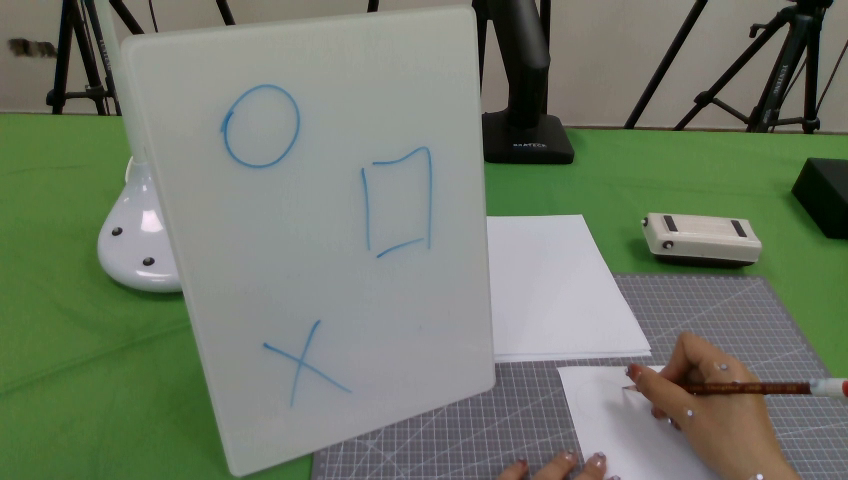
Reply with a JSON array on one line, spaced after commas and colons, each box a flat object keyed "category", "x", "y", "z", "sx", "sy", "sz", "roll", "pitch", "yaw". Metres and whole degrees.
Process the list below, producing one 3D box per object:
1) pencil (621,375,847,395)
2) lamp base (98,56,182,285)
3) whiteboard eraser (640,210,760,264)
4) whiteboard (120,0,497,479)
[{"category": "pencil", "x": 0.211, "y": 0.104, "z": 0.433, "sx": 0.012, "sy": 0.194, "sz": 0.012, "roll": 6, "pitch": 75, "yaw": -25}, {"category": "lamp base", "x": -0.255, "y": -0.074, "z": 0.584, "sx": 0.177, "sy": 0.182, "sz": 0.160, "roll": 28, "pitch": 45, "yaw": 30}, {"category": "whiteboard eraser", "x": 0.298, "y": -0.003, "z": 0.659, "sx": 0.113, "sy": 0.042, "sz": 0.055, "roll": 5, "pitch": 40, "yaw": 1}, {"category": "whiteboard", "x": -0.076, "y": -0.014, "z": 0.474, "sx": 0.218, "sy": 0.307, "sz": 0.142, "roll": -13, "pitch": 23, "yaw": -19}]
